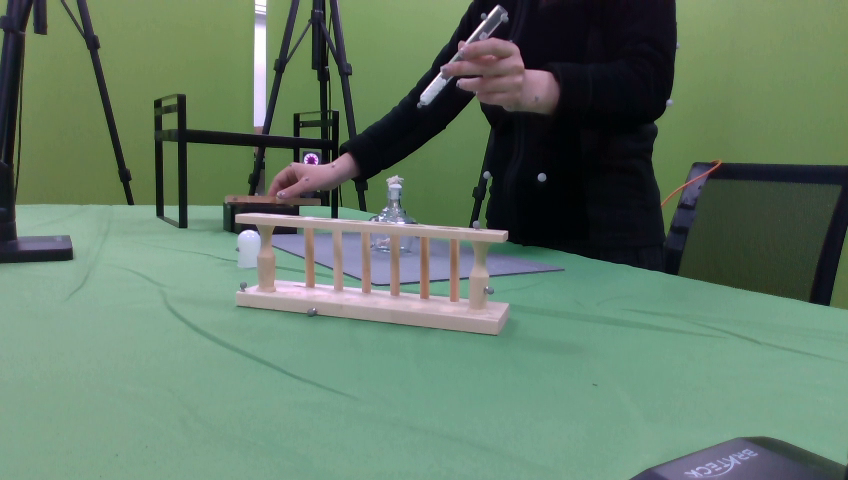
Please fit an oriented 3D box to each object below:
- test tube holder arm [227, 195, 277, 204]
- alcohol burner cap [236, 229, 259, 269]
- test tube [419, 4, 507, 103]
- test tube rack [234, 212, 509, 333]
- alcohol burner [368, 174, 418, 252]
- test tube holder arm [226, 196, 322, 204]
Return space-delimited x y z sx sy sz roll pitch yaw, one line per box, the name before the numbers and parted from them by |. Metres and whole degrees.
test tube holder arm | -0.309 -0.074 1.088 0.088 0.015 0.010 -2 -7 -34
alcohol burner cap | -0.221 0.010 0.759 0.034 0.048 0.034 -1 12 0
test tube | 0.043 -0.220 0.725 0.150 0.017 0.017 -44 -20 30
test tube rack | -0.047 0.023 0.547 0.242 0.085 0.067 4 8 15
alcohol burner | -0.047 -0.041 0.922 0.078 0.119 0.078 1 9 0
test tube holder arm | -0.274 -0.074 1.118 0.179 0.015 0.013 -2 -7 -34
